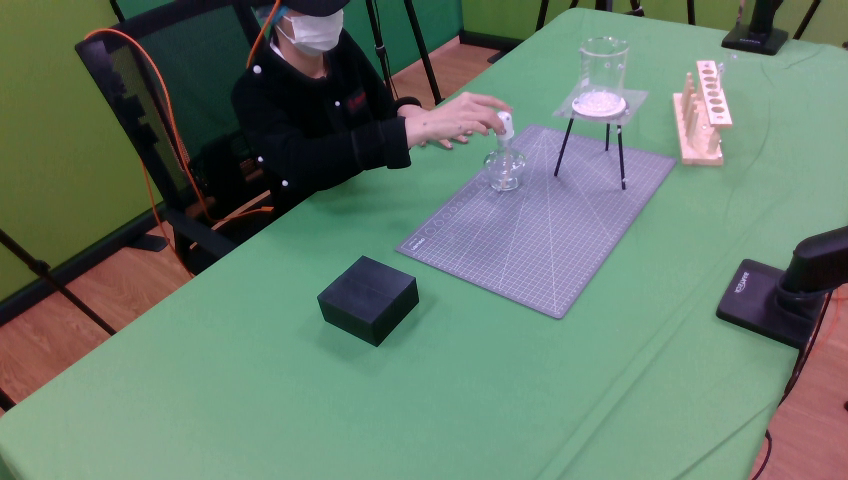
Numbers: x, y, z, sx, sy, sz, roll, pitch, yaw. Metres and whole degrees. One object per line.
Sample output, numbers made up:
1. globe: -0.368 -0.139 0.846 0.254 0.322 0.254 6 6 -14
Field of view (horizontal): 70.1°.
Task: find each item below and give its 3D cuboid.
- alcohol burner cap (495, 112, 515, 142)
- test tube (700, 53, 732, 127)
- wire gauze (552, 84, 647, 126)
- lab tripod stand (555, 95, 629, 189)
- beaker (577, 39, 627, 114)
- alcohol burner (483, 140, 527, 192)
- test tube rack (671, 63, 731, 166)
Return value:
1. alcohol burner cap: 0.133 -0.191 1.004 0.034 0.048 0.033 -5 48 6
2. test tube: 0.521 -0.265 1.081 0.017 0.151 0.017 -3 47 3
3. wire gauze: 0.293 -0.224 1.004 0.120 0.011 0.125 19 43 26
4. lab tripod stand: 0.300 -0.174 1.045 0.148 0.132 0.147 -5 38 5
5. beaker: 0.286 -0.264 0.976 0.073 0.100 0.084 25 49 33
6. alcohol burner: 0.141 -0.144 1.050 0.078 0.119 0.077 -4 42 4
7. test tube rack: 0.513 -0.241 1.132 0.066 0.085 0.242 4 41 14
